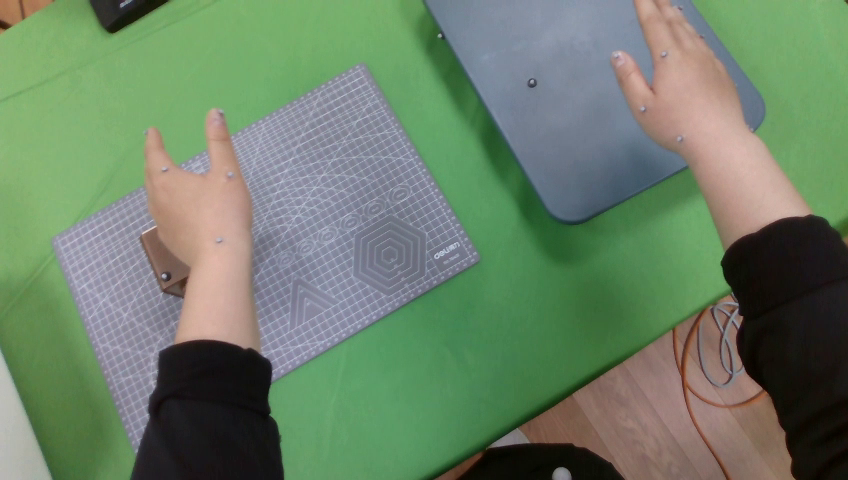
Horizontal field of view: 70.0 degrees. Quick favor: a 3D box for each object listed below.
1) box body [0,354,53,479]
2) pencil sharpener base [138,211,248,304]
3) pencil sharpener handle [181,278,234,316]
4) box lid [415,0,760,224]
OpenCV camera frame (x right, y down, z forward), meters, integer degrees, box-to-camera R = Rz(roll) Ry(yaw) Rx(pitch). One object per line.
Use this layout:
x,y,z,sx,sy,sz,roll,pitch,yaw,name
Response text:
-0.586,0.227,0.638,0.254,0.161,0.362,-33,75,-2,box body
-0.252,0.025,0.673,0.061,0.107,0.076,-29,76,-1,pencil sharpener base
-0.227,0.064,0.649,0.036,0.068,0.030,-31,75,5,pencil sharpener handle
0.173,-0.225,0.693,0.263,0.015,0.369,-28,76,-1,box lid
